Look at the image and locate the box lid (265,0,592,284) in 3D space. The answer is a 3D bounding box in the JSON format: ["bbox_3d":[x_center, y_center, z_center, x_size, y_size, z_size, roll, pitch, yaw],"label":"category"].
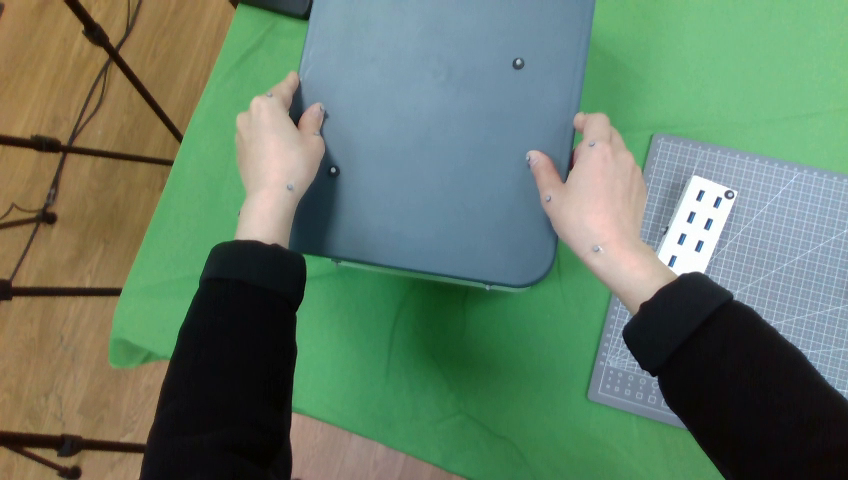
[{"bbox_3d":[0.009,-0.153,0.555,0.263,0.015,0.370,9,82,9],"label":"box lid"}]

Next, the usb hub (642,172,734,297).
[{"bbox_3d":[0.277,-0.006,0.637,0.049,0.025,0.125,24,85,10],"label":"usb hub"}]

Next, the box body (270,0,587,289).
[{"bbox_3d":[0.020,-0.142,0.627,0.253,0.161,0.363,8,82,9],"label":"box body"}]
